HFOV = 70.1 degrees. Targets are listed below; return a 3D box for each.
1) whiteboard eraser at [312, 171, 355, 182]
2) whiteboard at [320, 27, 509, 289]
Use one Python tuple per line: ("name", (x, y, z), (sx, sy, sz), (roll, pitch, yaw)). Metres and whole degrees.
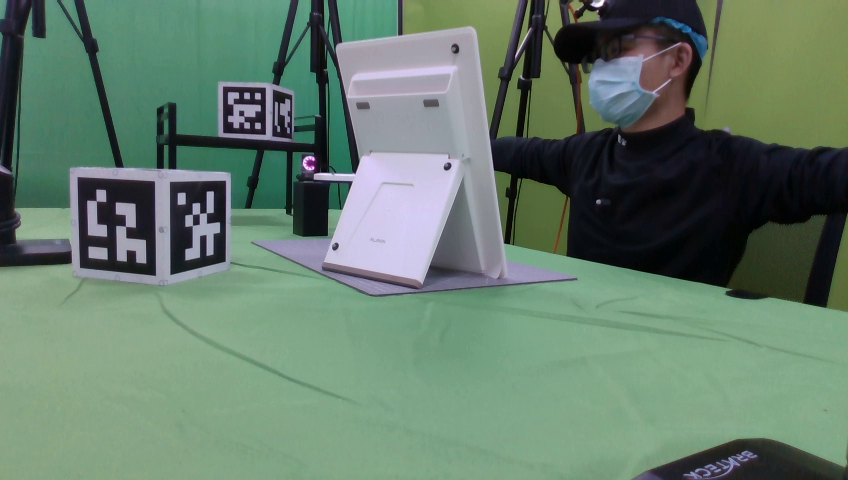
("whiteboard eraser", (-0.164, -0.122, 1.163), (0.102, 0.019, 0.041), (0, 7, -28))
("whiteboard", (-0.045, -0.076, 0.721), (0.216, 0.305, 0.144), (9, 29, 39))
